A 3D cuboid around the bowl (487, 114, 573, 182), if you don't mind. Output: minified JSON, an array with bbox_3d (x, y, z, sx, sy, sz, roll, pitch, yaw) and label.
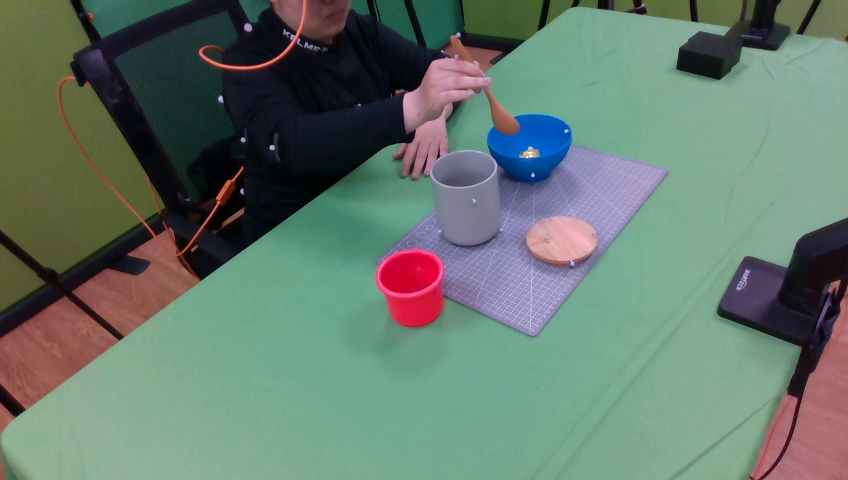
[{"bbox_3d":[0.190,-0.156,1.085,0.151,0.077,0.150,-5,40,5],"label":"bowl"}]

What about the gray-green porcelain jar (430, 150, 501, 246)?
[{"bbox_3d":[0.068,-0.062,0.959,0.106,0.127,0.105,-5,40,5],"label":"gray-green porcelain jar"}]

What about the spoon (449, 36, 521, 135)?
[{"bbox_3d":[0.092,-0.233,0.927,0.041,0.195,0.021,-9,41,42],"label":"spoon"}]

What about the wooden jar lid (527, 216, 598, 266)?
[{"bbox_3d":[0.214,0.003,0.937,0.108,0.021,0.108,-4,40,4],"label":"wooden jar lid"}]
